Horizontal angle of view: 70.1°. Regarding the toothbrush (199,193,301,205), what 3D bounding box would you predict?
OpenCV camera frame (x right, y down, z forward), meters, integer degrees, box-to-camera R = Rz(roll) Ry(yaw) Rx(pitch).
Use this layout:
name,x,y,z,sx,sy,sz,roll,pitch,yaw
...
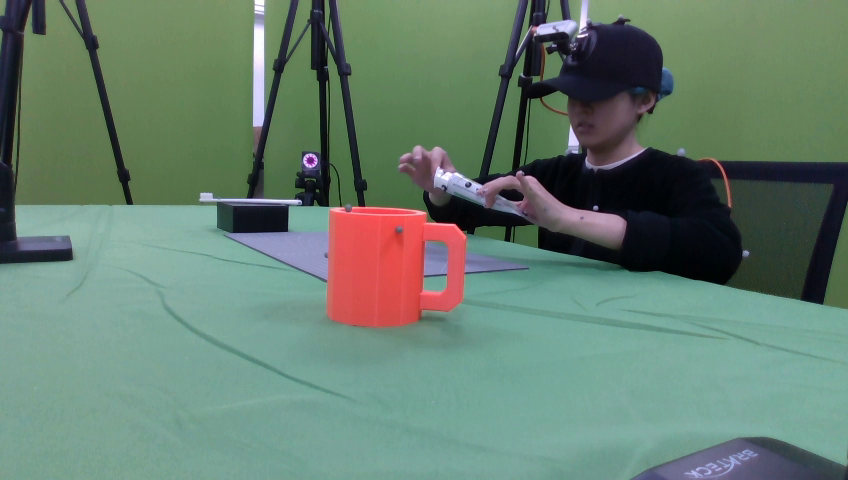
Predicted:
name,x,y,z,sx,sy,sz,roll,pitch,yaw
toothbrush,-0.323,-0.076,1.129,0.182,0.016,0.014,2,5,-15

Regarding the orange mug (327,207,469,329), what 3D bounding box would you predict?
name,x,y,z,sx,sy,sz,roll,pitch,yaw
orange mug,-0.024,0.021,0.535,0.126,0.100,0.083,-1,6,8

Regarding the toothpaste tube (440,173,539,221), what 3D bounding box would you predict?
name,x,y,z,sx,sy,sz,roll,pitch,yaw
toothpaste tube,0.091,-0.064,0.905,0.164,0.034,0.055,27,17,28

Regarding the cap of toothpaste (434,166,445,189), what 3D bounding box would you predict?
name,x,y,z,sx,sy,sz,roll,pitch,yaw
cap of toothpaste,0.025,-0.097,0.945,0.011,0.037,0.037,11,9,7
